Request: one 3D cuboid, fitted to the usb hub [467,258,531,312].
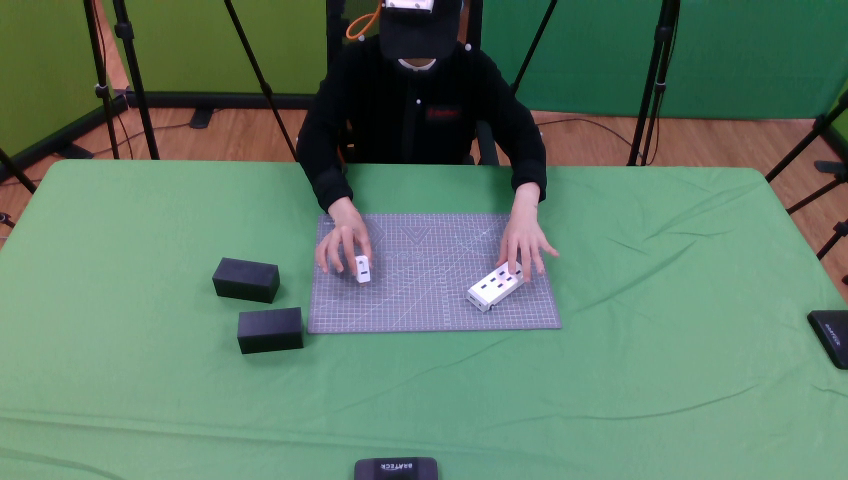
[{"bbox_3d":[0.139,0.083,1.121,0.125,0.025,0.049,-32,56,-29],"label":"usb hub"}]

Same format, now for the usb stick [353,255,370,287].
[{"bbox_3d":[-0.113,0.059,1.097,0.021,0.059,0.027,-11,22,-24],"label":"usb stick"}]
